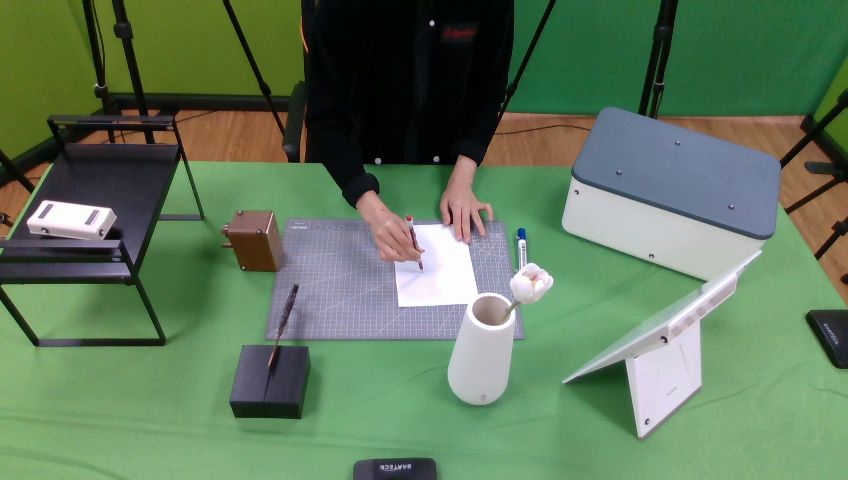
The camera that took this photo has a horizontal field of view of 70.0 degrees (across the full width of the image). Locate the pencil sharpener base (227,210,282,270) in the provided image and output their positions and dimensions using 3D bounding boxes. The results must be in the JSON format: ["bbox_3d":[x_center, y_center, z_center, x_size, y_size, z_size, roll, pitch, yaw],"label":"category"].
[{"bbox_3d":[-0.311,0.001,1.112,0.077,0.107,0.061,0,47,1],"label":"pencil sharpener base"}]

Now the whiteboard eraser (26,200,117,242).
[{"bbox_3d":[-0.532,-0.026,0.919,0.113,0.042,0.055,7,45,3],"label":"whiteboard eraser"}]

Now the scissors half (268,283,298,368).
[{"bbox_3d":[-0.230,0.135,0.986,0.013,0.040,0.174,19,43,-11],"label":"scissors half"}]

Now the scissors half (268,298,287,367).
[{"bbox_3d":[-0.239,0.150,0.997,0.013,0.040,0.174,24,24,-14],"label":"scissors half"}]

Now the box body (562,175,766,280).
[{"bbox_3d":[0.486,-0.088,1.222,0.363,0.161,0.253,20,48,15],"label":"box body"}]

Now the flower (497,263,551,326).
[{"bbox_3d":[0.102,0.121,0.853,0.044,0.363,0.038,-2,64,-10],"label":"flower"}]

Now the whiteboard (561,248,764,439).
[{"bbox_3d":[0.386,0.176,0.905,0.217,0.306,0.143,-26,72,-27],"label":"whiteboard"}]

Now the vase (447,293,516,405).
[{"bbox_3d":[0.091,0.169,0.921,0.098,0.201,0.097,3,47,-3],"label":"vase"}]

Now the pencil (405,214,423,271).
[{"bbox_3d":[-0.015,0.010,1.066,0.012,0.195,0.012,-4,59,6],"label":"pencil"}]

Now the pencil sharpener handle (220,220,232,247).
[{"bbox_3d":[-0.362,-0.009,1.104,0.030,0.068,0.036,1,52,1],"label":"pencil sharpener handle"}]

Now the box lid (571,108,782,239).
[{"bbox_3d":[0.491,-0.139,1.168,0.370,0.015,0.262,21,49,15],"label":"box lid"}]

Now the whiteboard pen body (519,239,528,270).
[{"bbox_3d":[0.193,0.035,1.181,0.017,0.017,0.140,6,48,1],"label":"whiteboard pen body"}]

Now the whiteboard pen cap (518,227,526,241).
[{"bbox_3d":[0.197,-0.009,1.220,0.018,0.018,0.033,5,50,1],"label":"whiteboard pen cap"}]
